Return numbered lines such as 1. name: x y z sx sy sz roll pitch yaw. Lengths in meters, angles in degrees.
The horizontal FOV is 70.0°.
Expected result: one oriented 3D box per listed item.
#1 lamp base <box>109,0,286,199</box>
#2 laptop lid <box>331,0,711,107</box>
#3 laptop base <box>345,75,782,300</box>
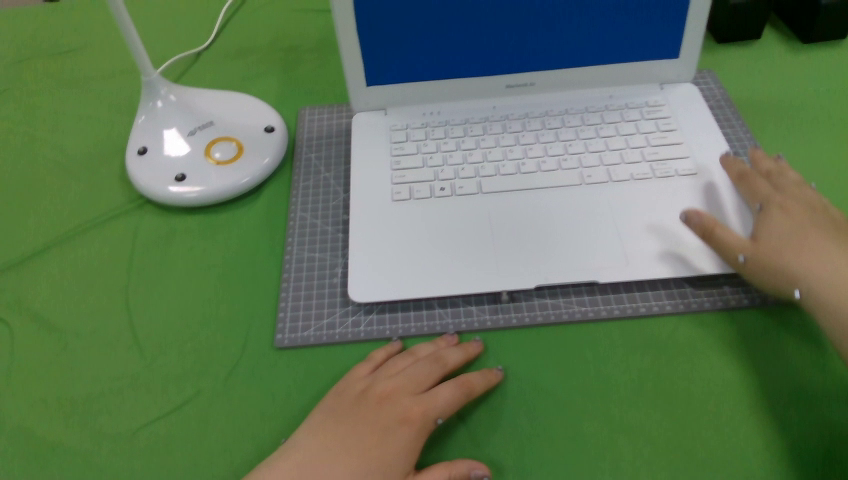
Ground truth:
1. lamp base: -0.235 -0.155 0.557 0.178 0.182 0.160 27 58 26
2. laptop lid: 0.090 -0.235 0.545 0.357 0.244 0.013 -6 44 2
3. laptop base: 0.106 -0.056 0.555 0.354 0.023 0.233 -5 55 1
